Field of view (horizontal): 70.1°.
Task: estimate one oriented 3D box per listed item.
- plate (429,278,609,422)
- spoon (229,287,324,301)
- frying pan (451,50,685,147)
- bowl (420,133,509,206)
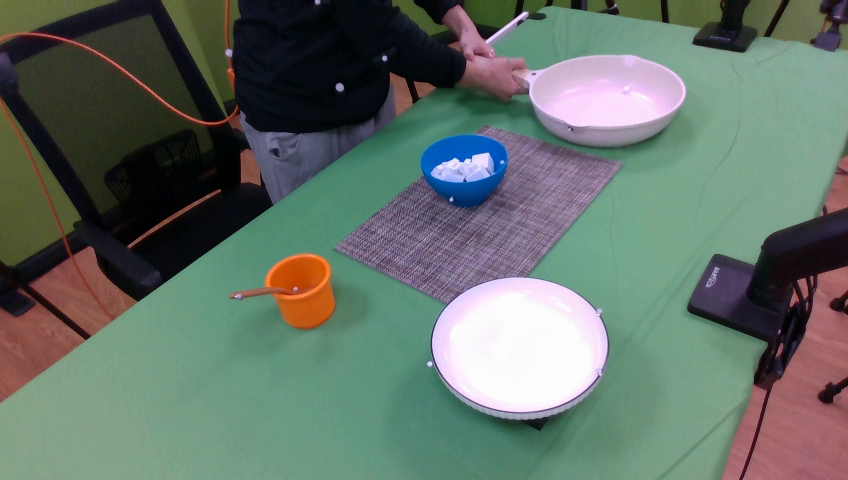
[{"bbox_3d":[0.111,0.129,0.716,0.207,0.039,0.206,-5,39,4],"label":"plate"},{"bbox_3d":[-0.197,0.071,0.816,0.041,0.195,0.021,12,88,23],"label":"spoon"},{"bbox_3d":[0.269,-0.316,1.233,0.485,0.103,0.307,26,49,21],"label":"frying pan"},{"bbox_3d":[0.071,-0.112,1.038,0.151,0.077,0.150,-4,40,4],"label":"bowl"}]
